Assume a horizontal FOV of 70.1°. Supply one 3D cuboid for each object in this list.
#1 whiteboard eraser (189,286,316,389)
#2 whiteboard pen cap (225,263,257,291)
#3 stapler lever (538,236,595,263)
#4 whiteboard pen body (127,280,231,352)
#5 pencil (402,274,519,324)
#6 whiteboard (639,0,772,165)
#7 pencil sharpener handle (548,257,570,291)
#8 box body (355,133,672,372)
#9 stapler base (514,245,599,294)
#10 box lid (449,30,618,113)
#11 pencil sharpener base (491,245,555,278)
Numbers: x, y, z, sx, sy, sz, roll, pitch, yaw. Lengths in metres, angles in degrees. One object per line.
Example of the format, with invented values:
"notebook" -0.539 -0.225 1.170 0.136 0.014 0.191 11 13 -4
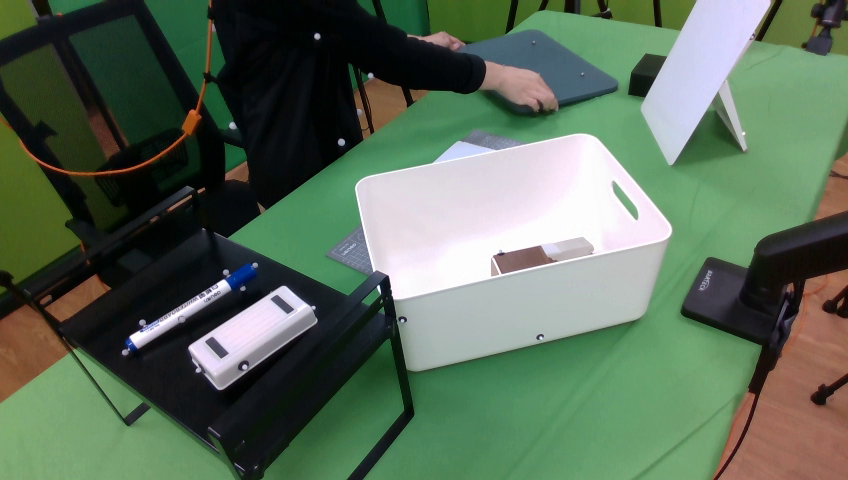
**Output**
"whiteboard eraser" -0.166 0.096 0.593 0.113 0.042 0.055 -36 47 -29
"whiteboard pen cap" -0.204 0.041 0.668 0.033 0.018 0.018 -36 48 -22
"stapler lever" 0.194 0.017 0.874 0.118 0.040 0.026 -20 45 -17
"whiteboard pen body" -0.248 0.072 0.645 0.141 0.017 0.017 -35 47 -23
"pencil" 0.056 0.082 0.870 0.195 0.012 0.012 -20 42 -20
"whiteboard" 0.543 -0.298 1.076 0.144 0.305 0.216 12 40 -7
"pencil sharpener handle" 0.182 0.045 0.801 0.031 0.068 0.035 -13 55 -7
"box body" 0.108 0.013 0.834 0.365 0.161 0.252 -12 41 -6
"stapler base" 0.195 0.038 0.891 0.131 0.024 0.041 -21 45 -16
"box lid" 0.241 -0.400 1.399 0.264 0.015 0.368 -17 42 -17
"pencil sharpener base" 0.134 0.068 0.801 0.077 0.107 0.061 -13 42 -7
